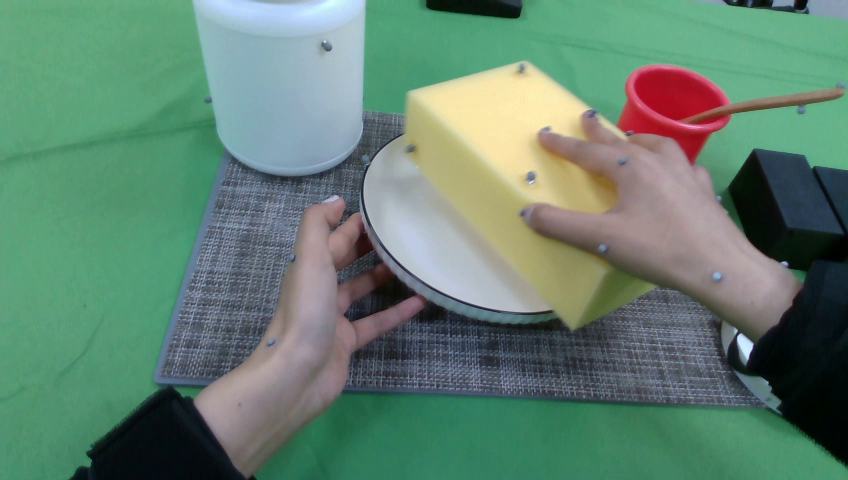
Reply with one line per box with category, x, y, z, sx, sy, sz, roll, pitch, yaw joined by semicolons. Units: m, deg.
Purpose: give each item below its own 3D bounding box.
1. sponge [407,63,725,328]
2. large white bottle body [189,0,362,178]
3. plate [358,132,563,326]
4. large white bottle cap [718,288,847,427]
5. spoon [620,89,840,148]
sponge;0.093;-0.045;0.448;0.118;0.061;0.204;-22;53;-28
large white bottle body;-0.117;-0.158;0.500;0.131;0.186;0.129;4;49;-4
plate;0.049;-0.013;0.489;0.210;0.038;0.207;9;47;-10
large white bottle cap;0.286;0.087;0.466;0.115;0.018;0.113;6;49;-7
spoon;0.259;-0.109;0.545;0.041;0.193;0.022;-46;114;-37
